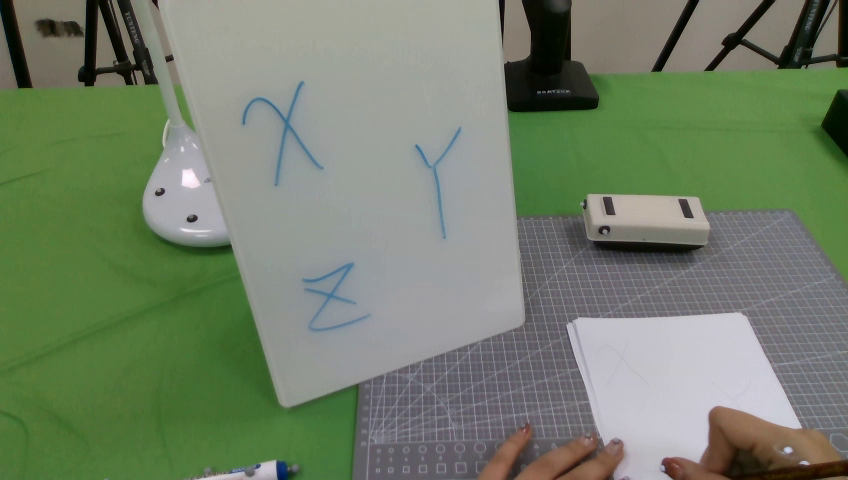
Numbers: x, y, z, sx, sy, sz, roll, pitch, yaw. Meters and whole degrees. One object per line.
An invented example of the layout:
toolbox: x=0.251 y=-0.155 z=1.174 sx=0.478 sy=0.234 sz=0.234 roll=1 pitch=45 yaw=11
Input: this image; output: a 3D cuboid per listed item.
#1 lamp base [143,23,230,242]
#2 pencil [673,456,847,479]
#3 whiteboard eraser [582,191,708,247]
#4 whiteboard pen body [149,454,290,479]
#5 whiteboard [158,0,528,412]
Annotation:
lamp base: x=-0.229 y=-0.115 z=0.609 sx=0.177 sy=0.182 sz=0.160 roll=27 pitch=49 yaw=31
pencil: x=0.202 y=0.128 z=0.336 sx=0.012 sy=0.194 sz=0.012 roll=14 pitch=59 yaw=-24
whiteboard eraser: x=0.216 y=-0.020 z=0.601 sx=0.112 sy=0.042 sz=0.055 roll=3 pitch=44 yaw=4
whiteboard pen body: x=-0.165 y=0.169 z=0.420 sx=0.141 sy=0.017 sz=0.017 roll=-9 pitch=43 yaw=-8
whiteboard: x=-0.054 y=-0.057 z=0.494 sx=0.218 sy=0.307 sz=0.142 roll=-16 pitch=25 yaw=-15
